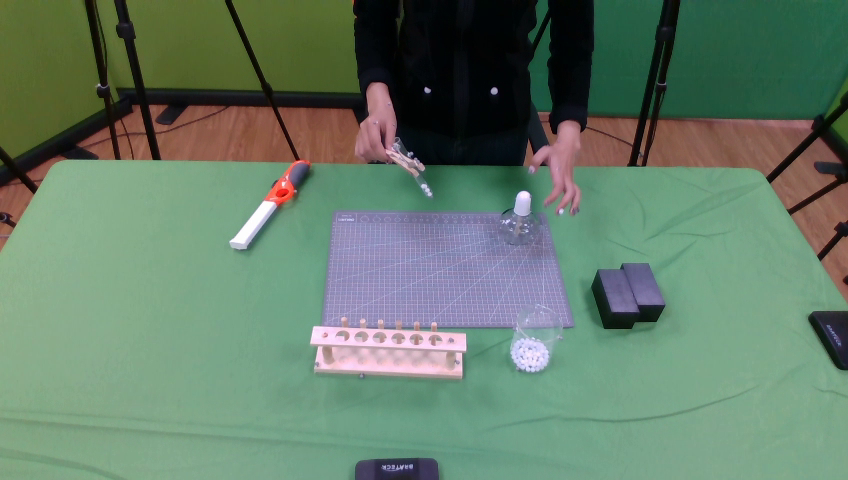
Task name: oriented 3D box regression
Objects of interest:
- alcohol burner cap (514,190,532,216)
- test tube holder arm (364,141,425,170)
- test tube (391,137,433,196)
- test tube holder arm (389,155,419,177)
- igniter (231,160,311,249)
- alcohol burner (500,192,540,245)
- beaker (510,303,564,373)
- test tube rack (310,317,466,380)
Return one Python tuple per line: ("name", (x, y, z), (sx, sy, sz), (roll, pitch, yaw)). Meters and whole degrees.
("alcohol burner cap", (0.192, -0.074, 1.166), (0.034, 0.048, 0.033), (1, 41, -1))
("test tube holder arm", (-0.057, -0.156, 1.113), (0.013, 0.015, 0.177), (-46, 42, -13))
("test tube", (-0.018, -0.126, 1.066), (0.017, 0.151, 0.017), (-15, 50, 19))
("test tube holder arm", (-0.036, -0.135, 1.079), (0.010, 0.015, 0.087), (-41, 41, -7))
("igniter", (-0.311, -0.081, 1.250), (0.057, 0.025, 0.275), (9, 45, 18))
("alcohol burner", (0.190, -0.048, 1.190), (0.078, 0.120, 0.077), (1, 47, 0))
("beaker", (0.182, 0.164, 1.000), (0.074, 0.101, 0.083), (2, 46, -1))
("test tube rack", (-0.056, 0.171, 0.986), (0.242, 0.085, 0.066), (3, 45, -1))
